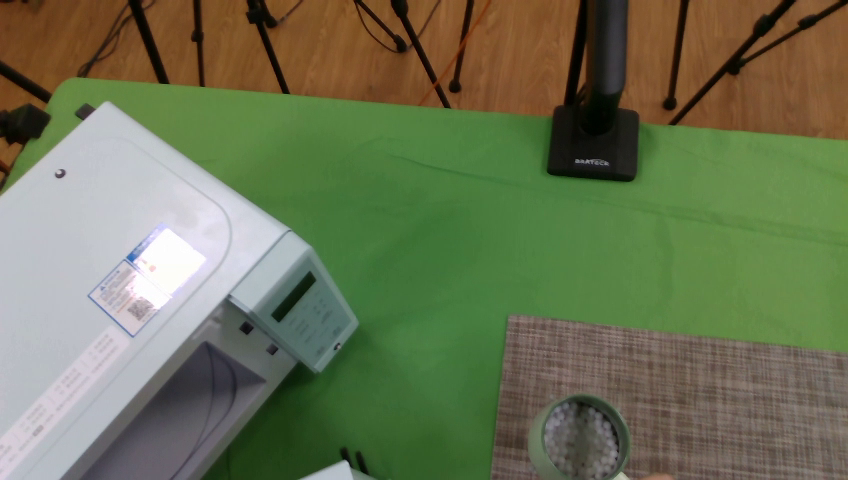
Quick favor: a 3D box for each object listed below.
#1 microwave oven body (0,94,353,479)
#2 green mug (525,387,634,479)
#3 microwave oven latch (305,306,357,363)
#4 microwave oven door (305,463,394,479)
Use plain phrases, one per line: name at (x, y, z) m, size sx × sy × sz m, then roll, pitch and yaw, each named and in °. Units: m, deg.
microwave oven body at (-0.349, 0.127, 0.650) m, size 0.324 × 0.262 × 0.440 m, roll 33°, pitch 73°, yaw 18°
green mug at (0.157, 0.201, 0.583) m, size 0.092 × 0.106 × 0.124 m, roll -41°, pitch 71°, yaw -11°
microwave oven latch at (-0.115, 0.111, 0.741) m, size 0.030 × 0.030 × 0.079 m, roll 35°, pitch 74°, yaw 19°
microwave oven door at (-0.206, 0.292, 0.555) m, size 0.356 × 0.246 × 0.039 m, roll -23°, pitch 66°, yaw -5°
